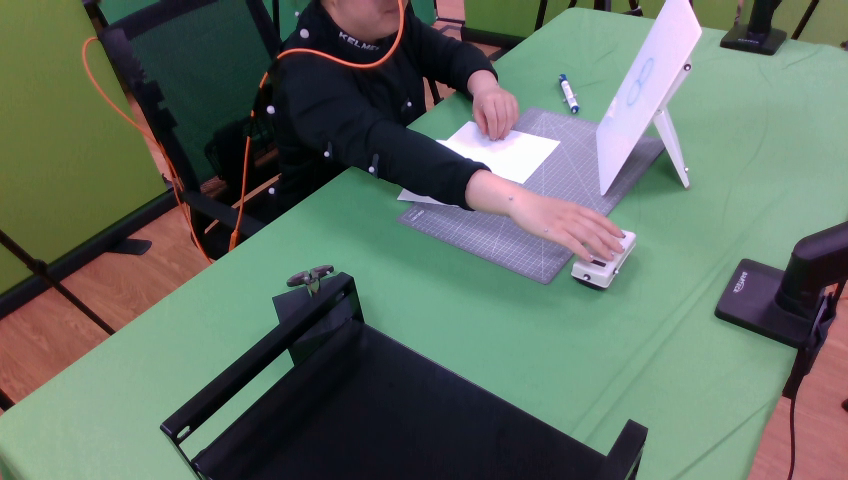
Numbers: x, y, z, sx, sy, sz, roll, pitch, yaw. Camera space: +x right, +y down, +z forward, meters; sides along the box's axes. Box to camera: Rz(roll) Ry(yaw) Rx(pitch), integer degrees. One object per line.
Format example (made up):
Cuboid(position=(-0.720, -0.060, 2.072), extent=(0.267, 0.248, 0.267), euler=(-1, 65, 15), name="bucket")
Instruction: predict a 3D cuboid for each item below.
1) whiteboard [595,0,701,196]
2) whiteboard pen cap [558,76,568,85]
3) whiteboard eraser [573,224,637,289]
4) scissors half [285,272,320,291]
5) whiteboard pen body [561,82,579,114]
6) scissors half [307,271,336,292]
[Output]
Cuboid(position=(0.421, -0.227, 1.010), extent=(0.144, 0.305, 0.216), euler=(18, 42, -2), name="whiteboard")
Cuboid(position=(0.310, -0.350, 1.341), extent=(0.018, 0.018, 0.033), euler=(-6, 41, 2), name="whiteboard pen cap")
Cuboid(position=(0.267, 0.025, 0.891), extent=(0.055, 0.042, 0.113), euler=(20, 48, 31), name="whiteboard eraser")
Cuboid(position=(-0.171, 0.063, 0.868), extent=(0.040, 0.013, 0.174), euler=(-10, 6, -22), name="scissors half")
Cuboid(position=(0.310, -0.311, 1.298), extent=(0.017, 0.017, 0.140), euler=(-6, 41, 2), name="whiteboard pen body")
Cuboid(position=(-0.151, 0.061, 0.873), extent=(0.040, 0.013, 0.175), euler=(-3, 5, -4), name="scissors half")
